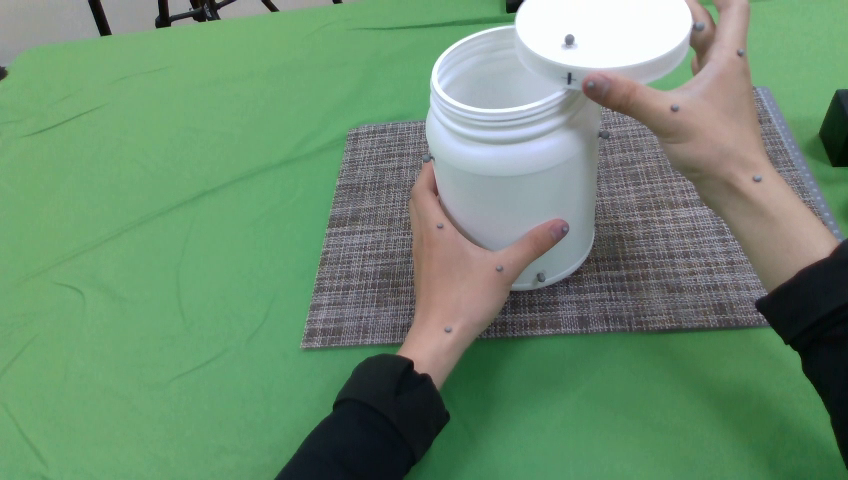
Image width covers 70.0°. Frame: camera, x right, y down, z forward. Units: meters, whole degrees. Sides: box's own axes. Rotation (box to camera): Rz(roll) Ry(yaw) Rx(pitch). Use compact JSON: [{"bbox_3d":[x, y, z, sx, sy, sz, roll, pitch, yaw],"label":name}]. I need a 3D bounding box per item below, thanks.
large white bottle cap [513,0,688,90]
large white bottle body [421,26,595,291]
[{"bbox_3d":[0.118,-0.143,0.410,0.115,0.018,0.113,-5,50,6],"label":"large white bottle cap"},{"bbox_3d":[0.070,-0.061,0.489,0.130,0.186,0.129,-7,47,8],"label":"large white bottle body"}]
